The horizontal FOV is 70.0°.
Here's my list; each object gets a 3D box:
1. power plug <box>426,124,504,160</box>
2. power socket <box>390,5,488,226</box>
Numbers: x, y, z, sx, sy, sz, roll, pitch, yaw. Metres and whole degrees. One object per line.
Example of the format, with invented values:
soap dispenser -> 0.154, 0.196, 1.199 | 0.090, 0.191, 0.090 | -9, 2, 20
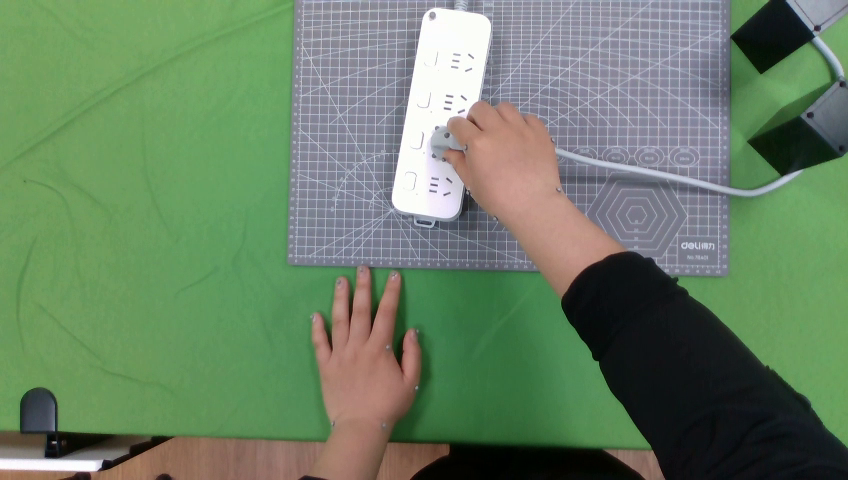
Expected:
power plug -> 0.037, -0.090, 0.594 | 0.072, 0.053, 0.035 | 21, 89, 2
power socket -> 0.015, -0.127, 0.615 | 0.072, 0.032, 0.226 | 9, 88, 3
